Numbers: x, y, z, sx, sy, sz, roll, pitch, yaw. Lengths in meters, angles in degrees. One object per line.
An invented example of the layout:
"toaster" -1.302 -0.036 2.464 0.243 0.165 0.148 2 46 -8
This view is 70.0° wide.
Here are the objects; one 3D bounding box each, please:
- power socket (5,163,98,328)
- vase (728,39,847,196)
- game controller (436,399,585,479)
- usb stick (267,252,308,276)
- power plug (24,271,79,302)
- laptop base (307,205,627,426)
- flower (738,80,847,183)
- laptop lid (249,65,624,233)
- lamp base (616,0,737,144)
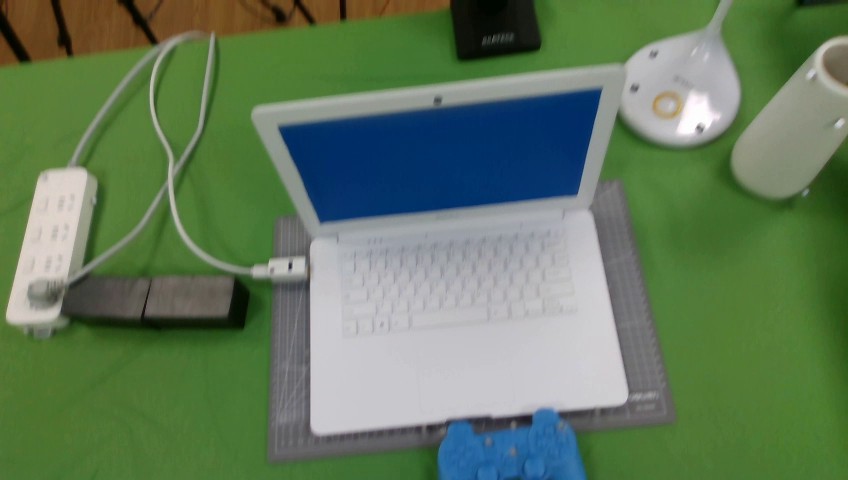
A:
"power socket" -0.475 0.000 0.778 0.072 0.033 0.225 -3 67 2
"vase" 0.418 -0.131 0.677 0.098 0.201 0.097 -2 65 5
"game controller" 0.087 0.224 0.635 0.155 0.052 0.096 -8 66 0
"usb stick" -0.159 0.029 0.736 0.059 0.027 0.021 -2 66 -2
"power plug" -0.444 0.060 0.729 0.072 0.053 0.035 8 67 6
"laptop base" 0.039 0.083 0.713 0.354 0.023 0.234 -6 70 2
"flower" 0.431 -0.164 0.601 0.038 0.363 0.043 8 57 -10
"laptop lid" 0.019 -0.084 0.655 0.357 0.244 0.013 -7 60 3
"lamp base" 0.332 -0.237 0.738 0.160 0.181 0.178 26 69 14
